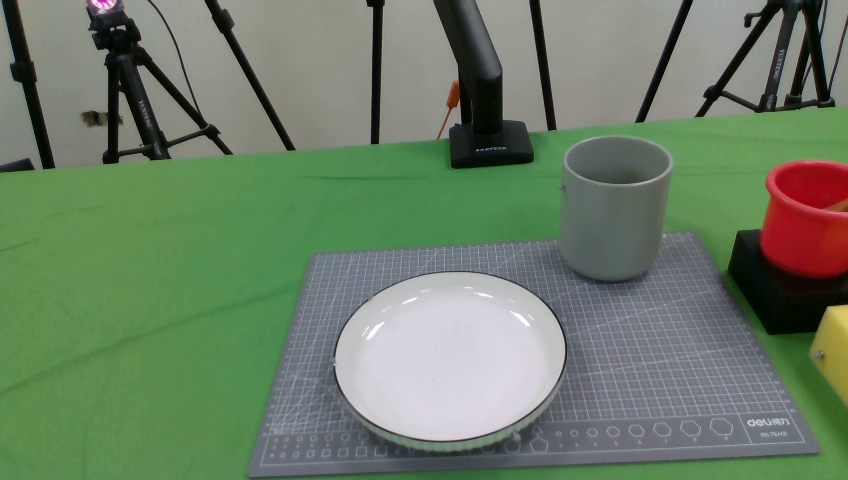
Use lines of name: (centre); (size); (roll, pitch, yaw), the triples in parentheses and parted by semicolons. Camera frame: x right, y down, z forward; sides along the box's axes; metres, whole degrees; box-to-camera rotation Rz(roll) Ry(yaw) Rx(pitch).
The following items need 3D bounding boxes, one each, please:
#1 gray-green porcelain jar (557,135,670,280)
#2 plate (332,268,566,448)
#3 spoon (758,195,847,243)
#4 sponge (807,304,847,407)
gray-green porcelain jar: (0.193, -0.030, 0.634); (0.106, 0.127, 0.105); (-4, 36, 3)
plate: (0.023, 0.104, 0.551); (0.207, 0.039, 0.205); (-4, 36, 3)
spoon: (0.389, -0.041, 0.525); (0.194, 0.022, 0.041); (-36, 13, 44)
sponge: (0.402, 0.131, 0.442); (0.118, 0.061, 0.204); (-6, 35, 0)
